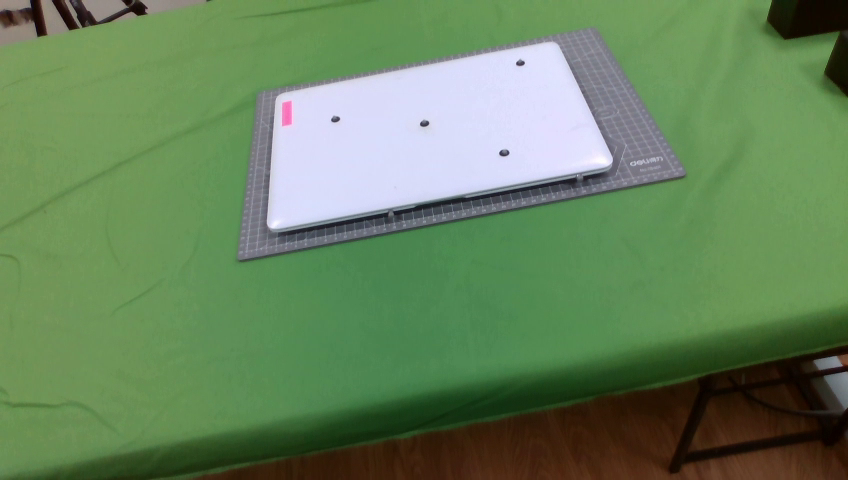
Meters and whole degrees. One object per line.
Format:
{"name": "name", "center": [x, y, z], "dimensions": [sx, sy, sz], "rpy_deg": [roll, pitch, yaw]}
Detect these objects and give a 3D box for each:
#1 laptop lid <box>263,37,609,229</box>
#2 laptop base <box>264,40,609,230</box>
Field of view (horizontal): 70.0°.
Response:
{"name": "laptop lid", "center": [-0.002, -0.129, 0.669], "dimensions": [0.357, 0.013, 0.239], "rpy_deg": [-10, 50, 3]}
{"name": "laptop base", "center": [0.000, -0.123, 0.679], "dimensions": [0.354, 0.023, 0.233], "rpy_deg": [-11, 51, 1]}
